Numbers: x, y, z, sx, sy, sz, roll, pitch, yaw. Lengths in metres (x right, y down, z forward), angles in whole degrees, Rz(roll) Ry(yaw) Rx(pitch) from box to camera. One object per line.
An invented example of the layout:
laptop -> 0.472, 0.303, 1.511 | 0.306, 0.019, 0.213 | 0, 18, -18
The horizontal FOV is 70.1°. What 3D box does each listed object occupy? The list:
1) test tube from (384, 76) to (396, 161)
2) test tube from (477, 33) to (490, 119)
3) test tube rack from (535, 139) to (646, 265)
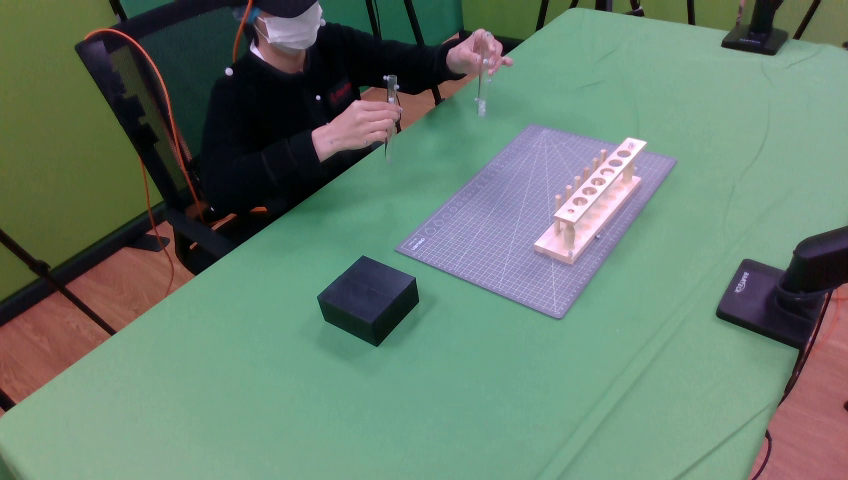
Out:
test tube -> -0.058, -0.204, 1.034 | 0.017, 0.150, 0.017 | 4, 32, -2
test tube -> 0.102, -0.279, 1.042 | 0.017, 0.151, 0.017 | 0, 36, 1
test tube rack -> 0.269, -0.071, 0.964 | 0.066, 0.085, 0.243 | 23, 49, 32
